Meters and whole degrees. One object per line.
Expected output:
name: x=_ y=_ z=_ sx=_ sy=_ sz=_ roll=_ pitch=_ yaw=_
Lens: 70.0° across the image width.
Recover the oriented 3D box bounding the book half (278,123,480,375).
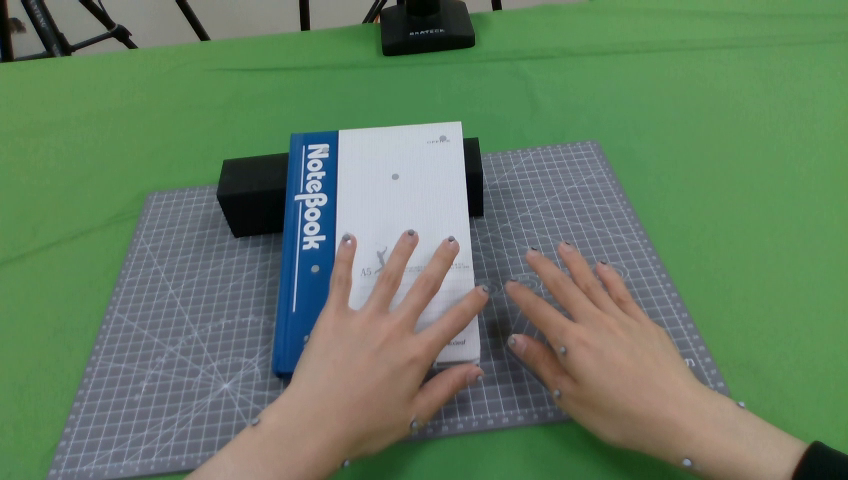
book half: x=-0.036 y=-0.002 z=0.469 sx=0.143 sy=0.007 sz=0.208 roll=-4 pitch=62 yaw=2
